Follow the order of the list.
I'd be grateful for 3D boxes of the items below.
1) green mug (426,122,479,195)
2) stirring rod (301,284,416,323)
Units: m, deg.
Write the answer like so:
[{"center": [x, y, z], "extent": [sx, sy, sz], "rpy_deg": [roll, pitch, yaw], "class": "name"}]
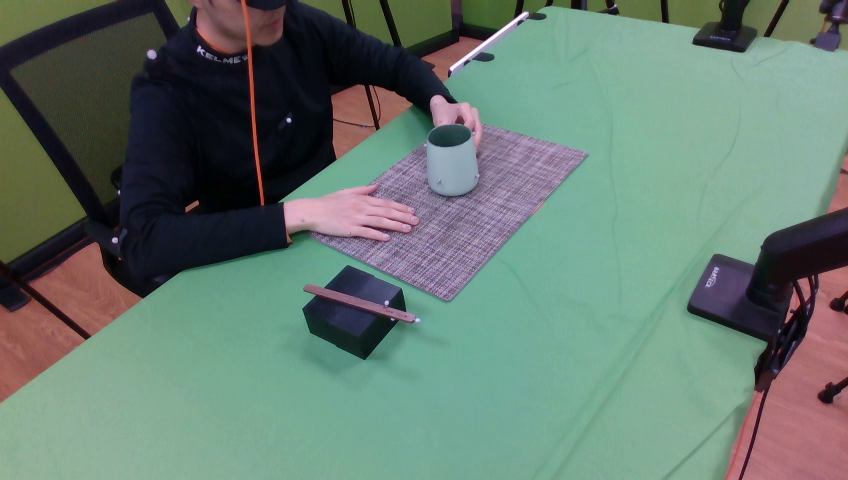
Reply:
[{"center": [0.052, -0.151, 1.066], "extent": [0.092, 0.105, 0.125], "rpy_deg": [5, 42, 14], "class": "green mug"}, {"center": [-0.091, 0.085, 0.818], "extent": [0.175, 0.006, 0.014], "rpy_deg": [13, 44, 21], "class": "stirring rod"}]
